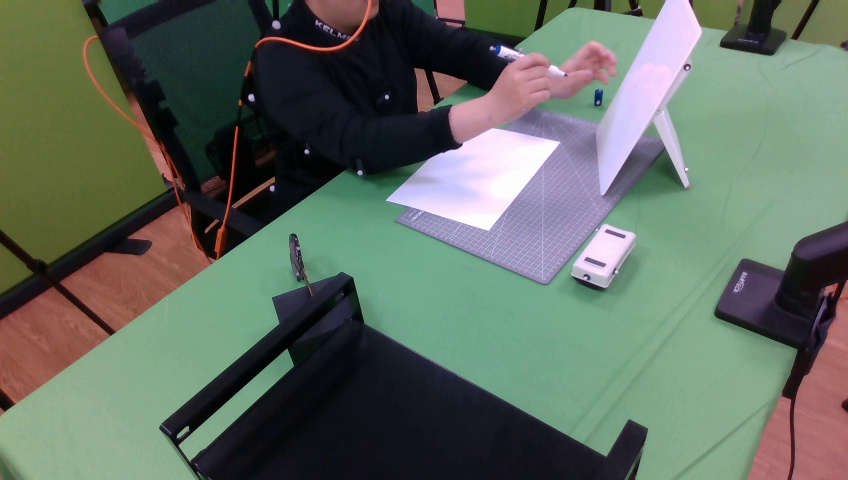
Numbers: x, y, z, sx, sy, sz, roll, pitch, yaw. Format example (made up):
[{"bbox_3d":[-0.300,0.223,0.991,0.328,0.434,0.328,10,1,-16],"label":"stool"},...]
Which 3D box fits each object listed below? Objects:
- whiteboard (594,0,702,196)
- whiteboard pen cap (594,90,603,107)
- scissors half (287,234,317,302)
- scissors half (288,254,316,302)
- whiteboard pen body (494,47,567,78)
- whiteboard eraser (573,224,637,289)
[{"bbox_3d":[0.420,-0.227,1.010,0.144,0.305,0.216,18,42,-2],"label":"whiteboard"},{"bbox_3d":[0.364,-0.294,1.261,0.018,0.033,0.018,-6,41,6],"label":"whiteboard pen cap"},{"bbox_3d":[-0.179,0.040,0.884,0.013,0.040,0.173,-11,36,-20],"label":"scissors half"},{"bbox_3d":[-0.178,0.058,0.894,0.013,0.040,0.174,-16,20,-17],"label":"scissors half"},{"bbox_3d":[0.180,-0.293,1.007,0.142,0.017,0.017,13,35,-21],"label":"whiteboard pen body"},{"bbox_3d":[0.267,0.025,0.890,0.055,0.042,0.113,19,47,31],"label":"whiteboard eraser"}]
